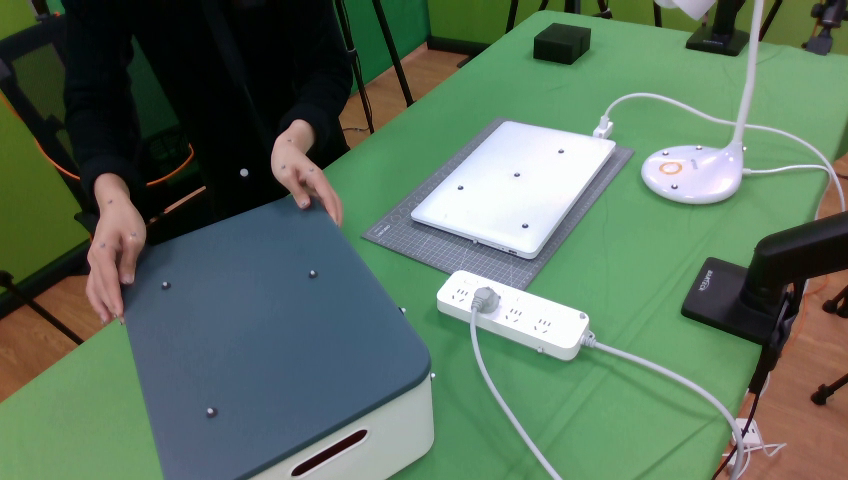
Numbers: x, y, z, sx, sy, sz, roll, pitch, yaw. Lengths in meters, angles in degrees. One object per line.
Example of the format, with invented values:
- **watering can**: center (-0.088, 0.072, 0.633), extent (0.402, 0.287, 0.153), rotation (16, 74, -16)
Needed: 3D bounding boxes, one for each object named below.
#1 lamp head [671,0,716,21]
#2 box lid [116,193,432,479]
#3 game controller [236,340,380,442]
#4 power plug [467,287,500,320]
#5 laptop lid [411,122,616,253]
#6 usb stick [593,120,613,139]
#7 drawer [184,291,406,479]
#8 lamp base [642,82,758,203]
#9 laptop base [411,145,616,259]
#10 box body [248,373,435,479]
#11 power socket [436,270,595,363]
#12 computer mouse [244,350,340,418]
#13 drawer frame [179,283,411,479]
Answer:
- **lamp head**: center (0.375, -0.373, 0.807), extent (0.122, 0.113, 0.112), rotation (-40, 27, 32)
- **box lid**: center (-0.182, 0.082, 0.667), extent (0.264, 0.015, 0.368), rotation (-25, 44, -18)
- **game controller**: center (-0.136, 0.159, 0.673), extent (0.154, 0.052, 0.097), rotation (14, 49, 27)
- **power plug**: center (0.073, 0.092, 0.814), extent (0.035, 0.053, 0.073), rotation (29, 54, 34)
- **laptop lid**: center (0.165, -0.111, 1.067), extent (0.240, 0.013, 0.357), rotation (19, 46, 31)
- **usb stick**: center (0.336, -0.201, 1.146), extent (0.021, 0.027, 0.059), rotation (25, 52, 27)
- **drawer**: center (-0.155, 0.179, 0.719), extent (0.195, 0.073, 0.210), rotation (-26, 40, -21)
- **lamp base**: center (0.464, -0.174, 0.992), extent (0.179, 0.181, 0.159), rotation (-5, 41, -1)
- **laptop base**: center (0.168, -0.101, 1.073), extent (0.234, 0.023, 0.355), rotation (17, 46, 30)
- **box body**: center (-0.175, 0.142, 0.724), extent (0.255, 0.161, 0.360), rotation (-25, 43, -20)
- **power socket**: center (0.118, 0.101, 0.832), extent (0.225, 0.033, 0.072), rotation (19, 48, 27)
- **computer mouse**: center (-0.165, 0.173, 0.754), extent (0.118, 0.041, 0.062), rotation (-18, 34, -18)
- **drawer frame**: center (-0.155, 0.179, 0.727), extent (0.202, 0.083, 0.211), rotation (-28, 49, -20)
